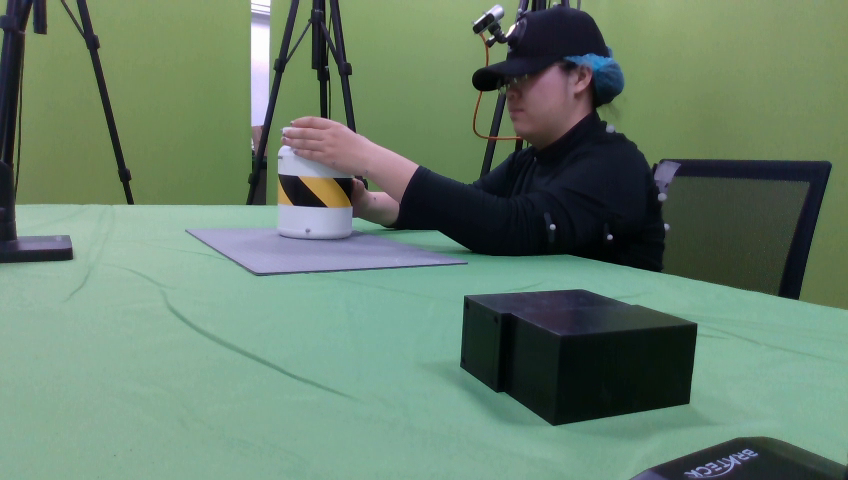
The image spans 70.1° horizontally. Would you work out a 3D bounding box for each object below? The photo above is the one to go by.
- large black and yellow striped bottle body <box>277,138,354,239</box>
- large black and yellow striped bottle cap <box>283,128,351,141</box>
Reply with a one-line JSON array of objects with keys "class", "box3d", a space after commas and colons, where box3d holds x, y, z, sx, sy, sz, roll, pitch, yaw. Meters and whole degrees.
[{"class": "large black and yellow striped bottle body", "box3d": [-0.189, -0.099, 1.056, 0.131, 0.184, 0.130, 3, 8, 0]}, {"class": "large black and yellow striped bottle cap", "box3d": [-0.184, -0.181, 1.044, 0.115, 0.019, 0.115, 1, 7, 0]}]
